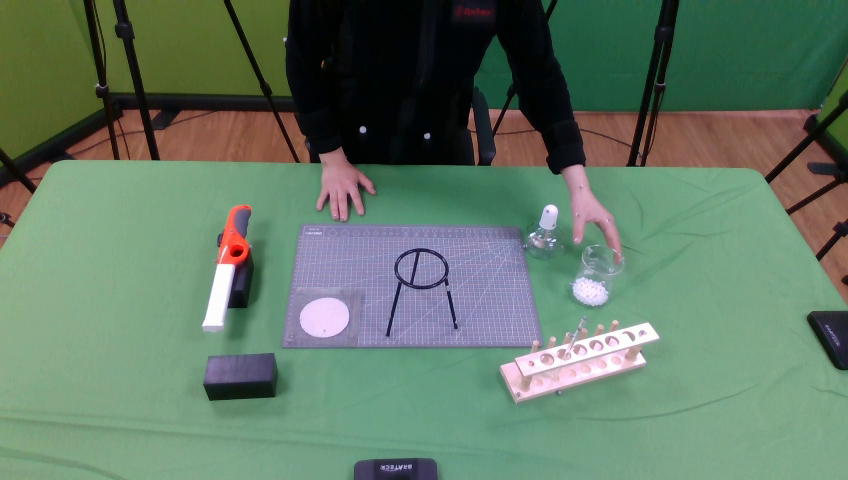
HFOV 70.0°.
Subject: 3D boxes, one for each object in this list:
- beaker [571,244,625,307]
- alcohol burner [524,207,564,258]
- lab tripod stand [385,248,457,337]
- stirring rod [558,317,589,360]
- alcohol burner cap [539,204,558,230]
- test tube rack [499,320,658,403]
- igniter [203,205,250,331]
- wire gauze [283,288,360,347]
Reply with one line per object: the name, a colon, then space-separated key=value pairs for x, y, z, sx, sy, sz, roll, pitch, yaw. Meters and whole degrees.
beaker: x=0.315 y=0.067 z=1.105 sx=0.084 sy=0.101 sz=0.073 roll=-9 pitch=48 yaw=-13
alcohol burner: x=0.236 y=-0.021 z=1.174 sx=0.078 sy=0.120 sz=0.077 roll=1 pitch=48 yaw=-1
lab tripod stand: x=-0.010 y=0.087 z=1.032 sx=0.148 sy=0.132 sz=0.147 roll=1 pitch=45 yaw=-1
stirring rod: x=0.221 y=0.155 z=0.912 sx=0.014 sy=0.177 sz=0.006 roll=5 pitch=58 yaw=2
alcohol burner cap: x=0.238 y=-0.046 z=1.148 sx=0.034 sy=0.048 sz=0.033 roll=2 pitch=43 yaw=-1
test tube rack: x=0.252 y=0.187 z=0.994 sx=0.243 sy=0.085 sz=0.066 roll=-12 pitch=48 yaw=-15
igniter: x=-0.345 y=0.039 z=1.065 sx=0.057 sy=0.025 sz=0.274 roll=2 pitch=48 yaw=-6
wire gauze: x=-0.178 y=0.132 z=1.063 sx=0.125 sy=0.011 sz=0.120 roll=2 pitch=47 yaw=1
